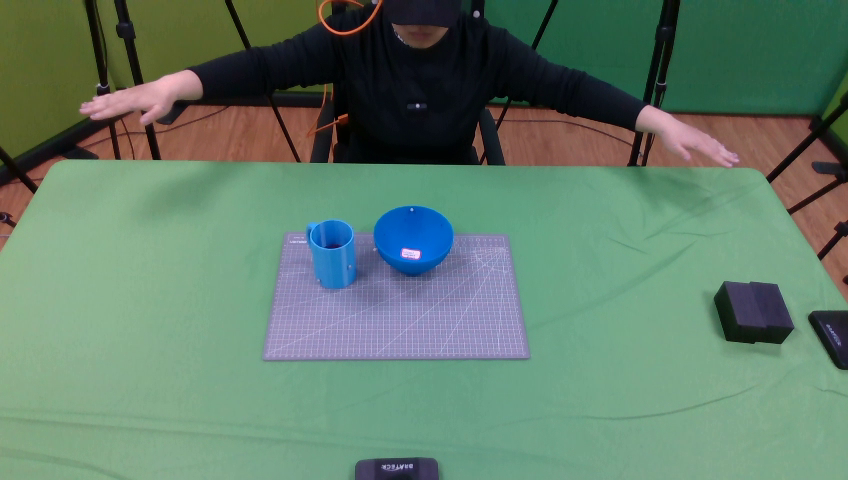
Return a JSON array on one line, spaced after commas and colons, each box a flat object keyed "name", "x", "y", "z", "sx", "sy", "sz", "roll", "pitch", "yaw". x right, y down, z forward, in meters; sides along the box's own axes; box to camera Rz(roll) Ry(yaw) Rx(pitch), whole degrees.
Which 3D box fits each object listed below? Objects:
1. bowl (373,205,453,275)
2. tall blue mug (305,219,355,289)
[{"name": "bowl", "x": -0.022, "y": 0.013, "z": 1.142, "sx": 0.151, "sy": 0.077, "sz": 0.150, "roll": 2, "pitch": 46, "yaw": -2}, {"name": "tall blue mug", "x": -0.180, "y": 0.022, "z": 1.099, "sx": 0.107, "sy": 0.108, "sz": 0.077, "roll": 15, "pitch": 48, "yaw": 10}]
